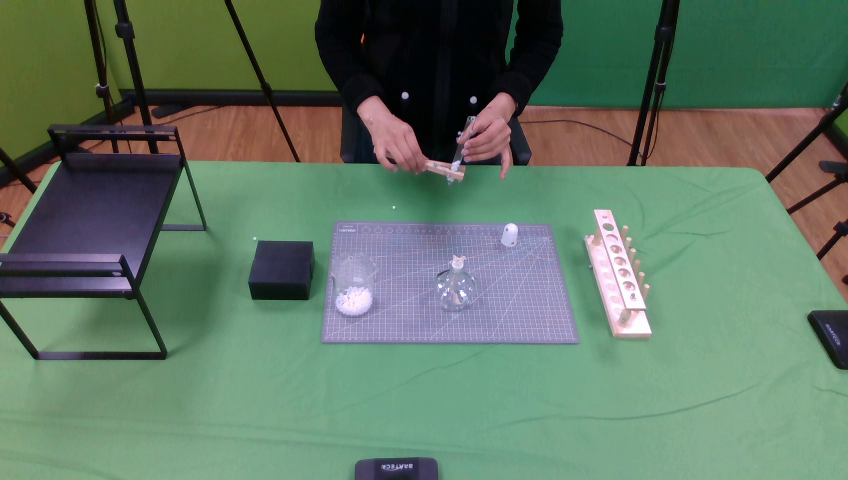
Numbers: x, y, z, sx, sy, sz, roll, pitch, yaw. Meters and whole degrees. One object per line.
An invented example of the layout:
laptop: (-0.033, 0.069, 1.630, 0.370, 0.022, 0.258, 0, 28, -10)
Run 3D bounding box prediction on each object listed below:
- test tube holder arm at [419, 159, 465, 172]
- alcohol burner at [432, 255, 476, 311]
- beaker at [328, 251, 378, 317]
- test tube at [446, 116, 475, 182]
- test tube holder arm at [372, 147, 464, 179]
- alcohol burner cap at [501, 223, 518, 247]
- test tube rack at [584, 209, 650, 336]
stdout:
test tube holder arm: (0.033, -0.140, 1.145, 0.088, 0.015, 0.010, 9, 49, -3)
alcohol burner: (0.055, 0.070, 1.068, 0.078, 0.119, 0.077, 3, 45, -3)
beaker: (-0.123, 0.079, 1.055, 0.084, 0.101, 0.073, 0, 47, -5)
test tube: (0.065, -0.163, 1.107, 0.017, 0.151, 0.017, 9, 46, -10)
test tube holder arm: (-0.012, -0.146, 1.142, 0.178, 0.015, 0.013, 15, 49, 3)
alcohol burner cap: (0.172, -0.013, 1.206, 0.034, 0.048, 0.033, 1, 45, -1)
test tube rack: (0.365, 0.056, 1.129, 0.067, 0.085, 0.240, 0, 46, -3)
